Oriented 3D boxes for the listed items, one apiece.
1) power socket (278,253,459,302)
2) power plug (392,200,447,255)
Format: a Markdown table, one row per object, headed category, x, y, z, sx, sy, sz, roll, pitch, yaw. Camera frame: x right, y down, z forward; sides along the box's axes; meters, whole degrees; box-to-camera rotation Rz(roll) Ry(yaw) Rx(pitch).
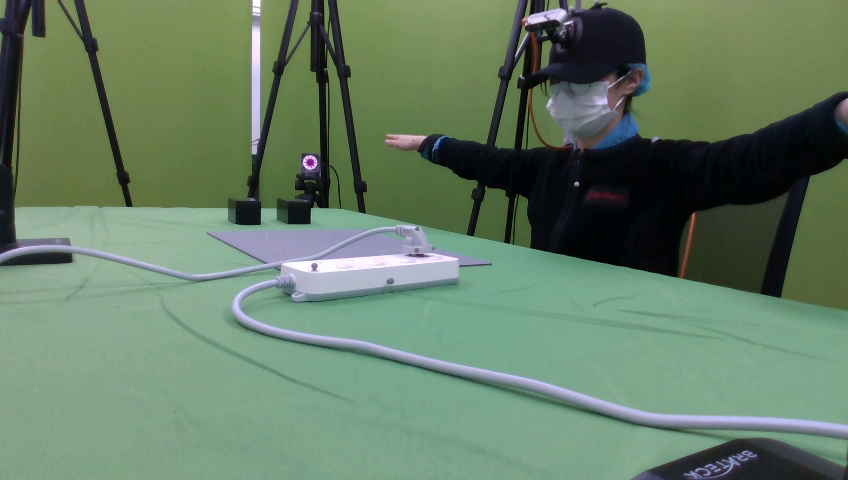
| category | x | y | z | sx | sy | sz | roll | pitch | yaw |
| --- | --- | --- | --- | --- | --- | --- | --- | --- | --- |
| power socket | -0.055 | 0.037 | 0.675 | 0.228 | 0.032 | 0.072 | -4 | 8 | -40 |
| power plug | -0.007 | -0.017 | 0.726 | 0.053 | 0.072 | 0.035 | 17 | -12 | -22 |
